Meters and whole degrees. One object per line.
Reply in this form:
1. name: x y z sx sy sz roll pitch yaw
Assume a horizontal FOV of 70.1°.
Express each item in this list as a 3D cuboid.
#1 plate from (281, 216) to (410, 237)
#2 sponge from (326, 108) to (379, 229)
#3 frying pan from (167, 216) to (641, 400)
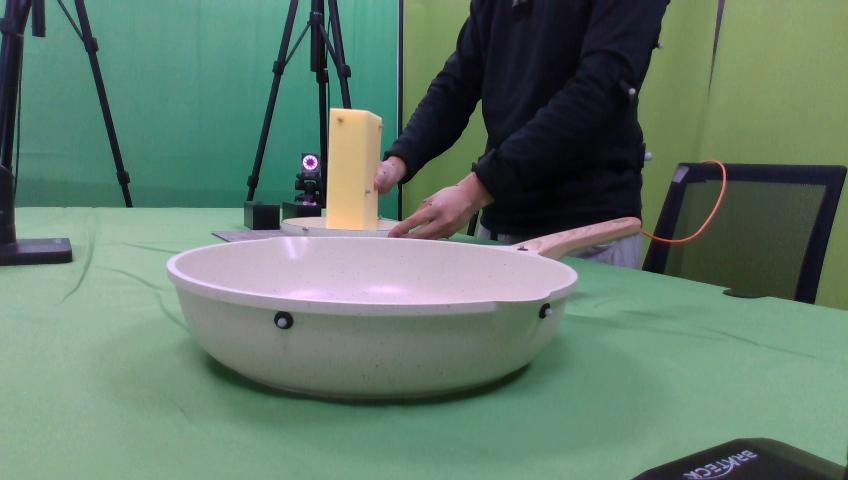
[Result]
1. plate: -0.126 -0.012 0.986 0.208 0.039 0.207 2 7 0
2. sponge: -0.116 -0.105 0.990 0.061 0.206 0.118 3 8 6
3. frying pan: 0.046 0.024 0.519 0.490 0.102 0.305 -14 16 -37
